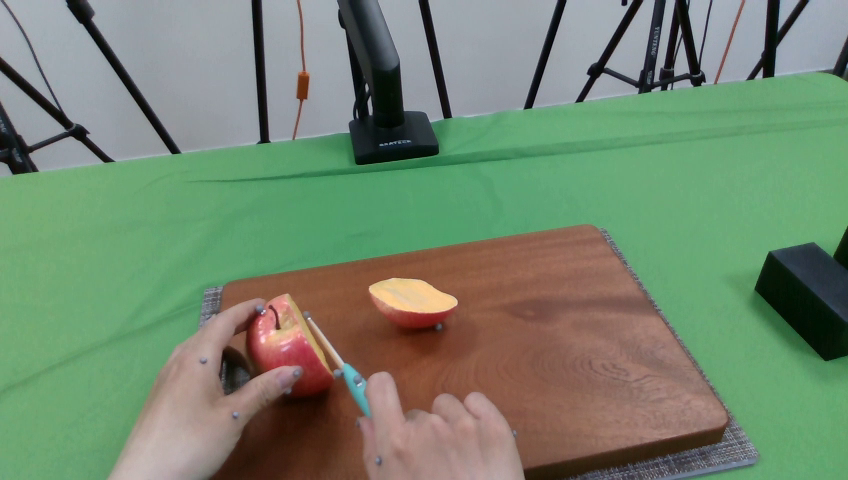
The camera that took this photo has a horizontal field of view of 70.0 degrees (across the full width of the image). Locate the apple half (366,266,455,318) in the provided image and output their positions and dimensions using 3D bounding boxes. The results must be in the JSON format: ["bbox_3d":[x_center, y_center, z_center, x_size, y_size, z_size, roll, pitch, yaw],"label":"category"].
[{"bbox_3d":[-0.017,0.053,0.546,0.081,0.033,0.081,11,18,-3],"label":"apple half"}]

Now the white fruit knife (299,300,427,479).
[{"bbox_3d":[-0.056,0.099,0.460,0.016,0.028,0.205,-26,38,-21],"label":"white fruit knife"}]

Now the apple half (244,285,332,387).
[{"bbox_3d":[-0.114,0.085,0.489,0.053,0.075,0.080,-30,53,-9],"label":"apple half"}]
